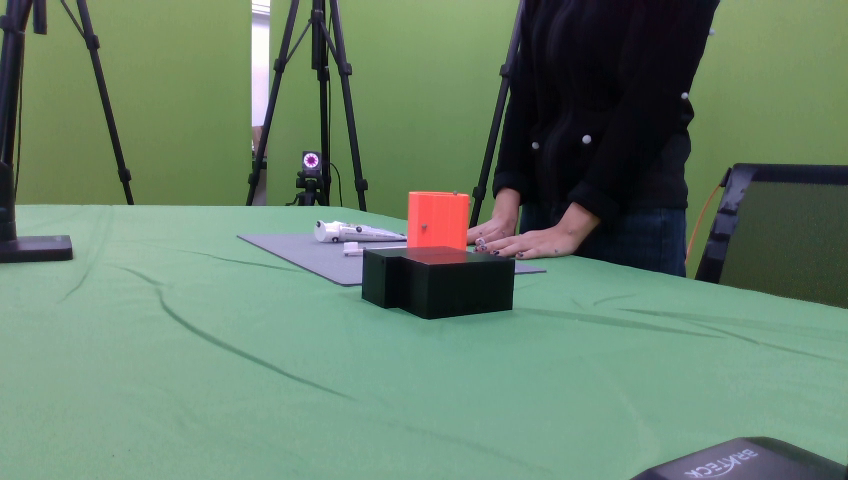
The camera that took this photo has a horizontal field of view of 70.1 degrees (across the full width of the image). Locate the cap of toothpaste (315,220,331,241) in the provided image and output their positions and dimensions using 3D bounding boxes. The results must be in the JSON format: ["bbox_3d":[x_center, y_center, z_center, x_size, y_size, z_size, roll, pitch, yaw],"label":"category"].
[{"bbox_3d":[-0.164,-0.015,0.982,0.011,0.037,0.037,-8,12,-43],"label":"cap of toothpaste"}]

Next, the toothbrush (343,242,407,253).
[{"bbox_3d":[-0.039,0.010,0.905,0.183,0.016,0.014,-1,-7,-36],"label":"toothbrush"}]

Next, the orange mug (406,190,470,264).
[{"bbox_3d":[0.027,-0.023,0.866,0.083,0.101,0.126,6,12,24],"label":"orange mug"}]

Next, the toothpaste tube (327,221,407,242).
[{"bbox_3d":[-0.095,-0.012,1.026,0.166,0.034,0.055,2,13,-33],"label":"toothpaste tube"}]
